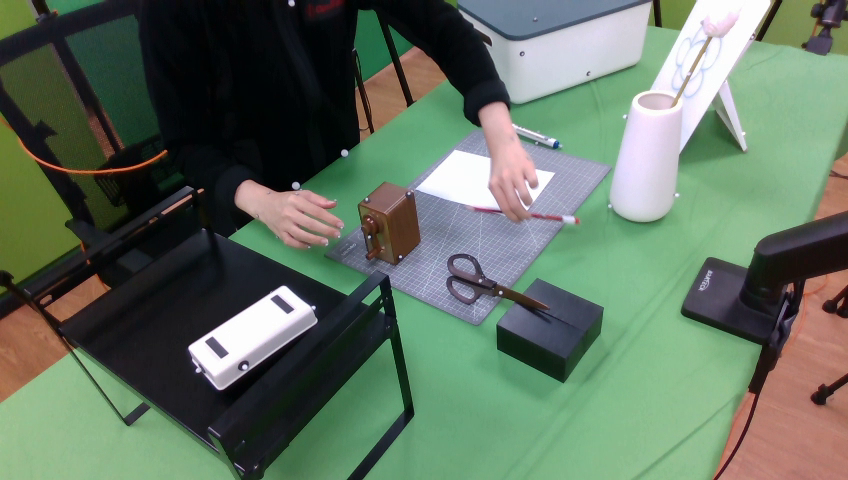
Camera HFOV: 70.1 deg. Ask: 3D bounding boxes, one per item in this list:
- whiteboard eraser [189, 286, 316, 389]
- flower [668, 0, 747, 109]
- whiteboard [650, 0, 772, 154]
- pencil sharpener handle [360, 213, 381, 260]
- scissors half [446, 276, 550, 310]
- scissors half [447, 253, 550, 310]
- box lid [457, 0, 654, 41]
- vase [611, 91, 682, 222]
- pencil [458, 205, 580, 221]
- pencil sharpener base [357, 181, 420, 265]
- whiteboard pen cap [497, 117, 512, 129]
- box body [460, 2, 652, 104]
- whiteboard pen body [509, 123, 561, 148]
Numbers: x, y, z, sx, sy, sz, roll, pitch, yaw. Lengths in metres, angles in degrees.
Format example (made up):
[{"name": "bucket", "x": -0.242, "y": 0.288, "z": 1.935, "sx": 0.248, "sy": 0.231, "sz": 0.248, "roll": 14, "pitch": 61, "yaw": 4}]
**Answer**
[{"name": "whiteboard eraser", "x": -0.166, "y": 0.096, "z": 0.593, "sx": 0.113, "sy": 0.042, "sz": 0.055, "roll": -36, "pitch": 47, "yaw": -29}, {"name": "flower", "x": 0.354, "y": -0.187, "z": 0.879, "sx": 0.038, "sy": 0.362, "sz": 0.044, "roll": 30, "pitch": 48, "yaw": 14}, {"name": "whiteboard", "x": 0.543, "y": -0.298, "z": 1.076, "sx": 0.144, "sy": 0.305, "sz": 0.216, "roll": 12, "pitch": 40, "yaw": -7}, {"name": "pencil sharpener handle", "x": -0.083, "y": -0.004, "z": 0.902, "sx": 0.035, "sy": 0.068, "sz": 0.031, "roll": 13, "pitch": 44, "yaw": 37}, {"name": "scissors half", "x": 0.098, "y": 0.077, "z": 0.827, "sx": 0.174, "sy": 0.040, "sz": 0.013, "roll": 6, "pitch": 14, "yaw": 44}, {"name": "scissors half", "x": 0.098, "y": 0.058, "z": 0.821, "sx": 0.173, "sy": 0.040, "sz": 0.013, "roll": 27, "pitch": 33, "yaw": 37}, {"name": "box lid", "x": 0.285, "y": -0.522, "z": 1.323, "sx": 0.373, "sy": 0.015, "sz": 0.261, "roll": -22, "pitch": 43, "yaw": -16}, {"name": "vase", "x": 0.348, "y": -0.125, "z": 0.935, "sx": 0.098, "sy": 0.201, "sz": 0.097, "roll": -3, "pitch": 40, "yaw": 3}, {"name": "pencil", "x": 0.144, "y": -0.041, "z": 0.903, "sx": 0.195, "sy": 0.012, "sz": 0.012, "roll": 5, "pitch": 38, "yaw": -14}, {"name": "pencil sharpener base", "x": -0.055, "y": -0.024, "z": 0.941, "sx": 0.061, "sy": 0.107, "sz": 0.077, "roll": 21, "pitch": 48, "yaw": 29}, {"name": "whiteboard pen cap", "x": 0.165, "y": -0.235, "z": 1.226, "sx": 0.033, "sy": 0.018, "sz": 0.018, "roll": 32, "pitch": 53, "yaw": 31}, {"name": "box body", "x": 0.291, "y": -0.465, "z": 1.371, "sx": 0.365, "sy": 0.161, "sz": 0.252, "roll": -22, "pitch": 42, "yaw": -16}, {"name": "whiteboard pen body", "x": 0.209, "y": -0.211, "z": 1.195, "sx": 0.139, "sy": 0.017, "sz": 0.017, "roll": 30, "pitch": 52, "yaw": 33}]
